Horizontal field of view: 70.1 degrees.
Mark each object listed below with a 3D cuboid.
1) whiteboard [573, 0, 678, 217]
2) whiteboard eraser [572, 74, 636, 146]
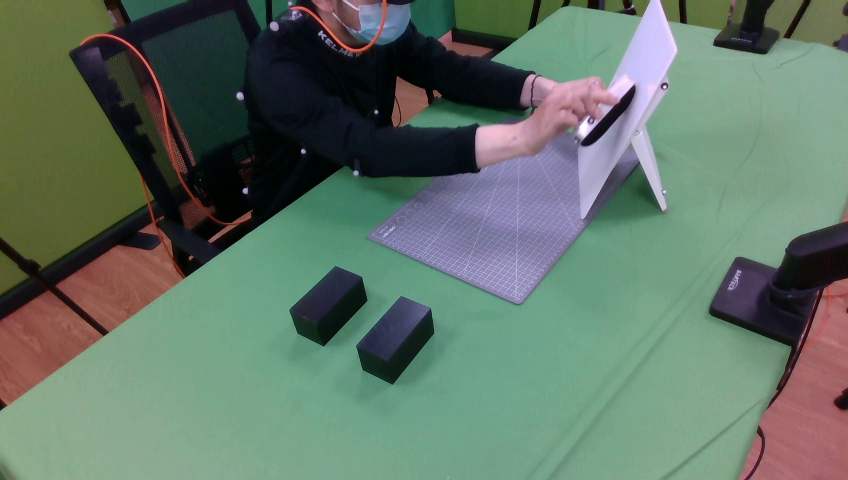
[{"bbox_3d":[0.368,-0.189,0.964,0.144,0.305,0.216,18,42,-2],"label":"whiteboard"},{"bbox_3d":[0.272,-0.192,0.908,0.042,0.056,0.112,41,95,8],"label":"whiteboard eraser"}]
